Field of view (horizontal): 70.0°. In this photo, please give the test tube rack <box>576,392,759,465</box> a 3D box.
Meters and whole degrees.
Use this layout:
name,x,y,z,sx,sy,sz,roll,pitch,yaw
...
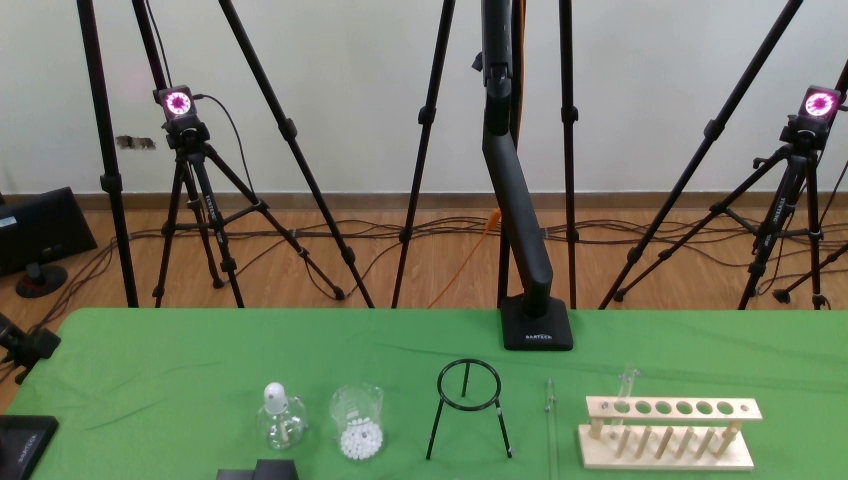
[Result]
name,x,y,z,sx,sy,sz,roll,pitch,yaw
test tube rack,0.353,0.274,0.883,0.242,0.086,0.066,0,40,2

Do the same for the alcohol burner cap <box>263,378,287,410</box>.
name,x,y,z,sx,sy,sz,roll,pitch,yaw
alcohol burner cap,-0.216,0.221,0.878,0.034,0.048,0.033,3,42,-2

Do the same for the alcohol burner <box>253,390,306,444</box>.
name,x,y,z,sx,sy,sz,roll,pitch,yaw
alcohol burner,-0.217,0.249,0.901,0.078,0.120,0.077,0,39,0

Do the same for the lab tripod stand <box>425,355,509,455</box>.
name,x,y,z,sx,sy,sz,roll,pitch,yaw
lab tripod stand,0.060,0.242,0.890,0.148,0.133,0.147,-2,39,2

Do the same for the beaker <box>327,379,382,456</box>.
name,x,y,z,sx,sy,sz,roll,pitch,yaw
beaker,-0.097,0.263,0.894,0.084,0.101,0.073,-27,47,-28

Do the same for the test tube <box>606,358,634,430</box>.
name,x,y,z,sx,sy,sz,roll,pitch,yaw
test tube,0.279,0.224,0.868,0.017,0.151,0.017,-1,38,1

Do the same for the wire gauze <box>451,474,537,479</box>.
name,x,y,z,sx,sy,sz,roll,pitch,yaw
wire gauze,0.098,0.375,0.825,0.125,0.011,0.120,1,39,3

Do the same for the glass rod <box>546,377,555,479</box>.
name,x,y,z,sx,sy,sz,roll,pitch,yaw
glass rod,0.193,0.291,0.924,0.008,0.008,0.198,4,42,5
